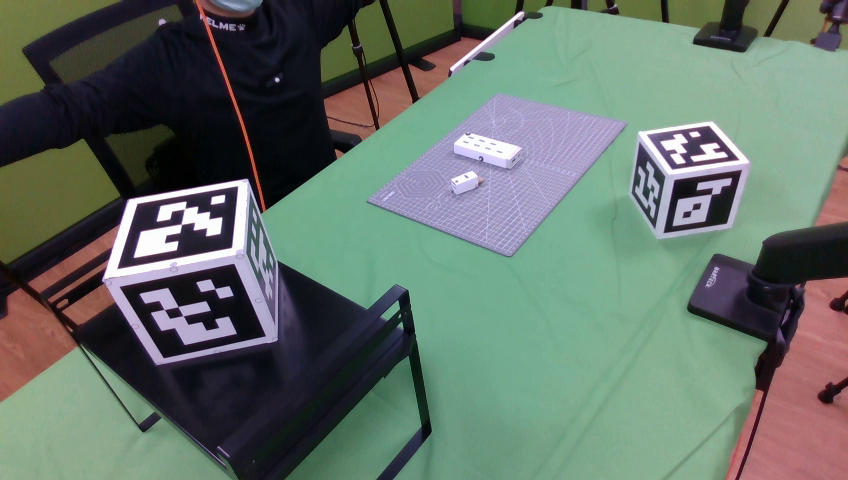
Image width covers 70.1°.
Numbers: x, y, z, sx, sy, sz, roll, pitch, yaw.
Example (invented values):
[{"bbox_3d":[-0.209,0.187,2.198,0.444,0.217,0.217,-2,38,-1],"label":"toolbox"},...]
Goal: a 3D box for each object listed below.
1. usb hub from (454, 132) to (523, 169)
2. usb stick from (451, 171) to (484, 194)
[{"bbox_3d":[0.121,-0.170,1.144,0.124,0.025,0.049,22,48,29],"label":"usb hub"},{"bbox_3d":[0.079,-0.104,1.072,0.059,0.027,0.021,-20,41,-18],"label":"usb stick"}]
